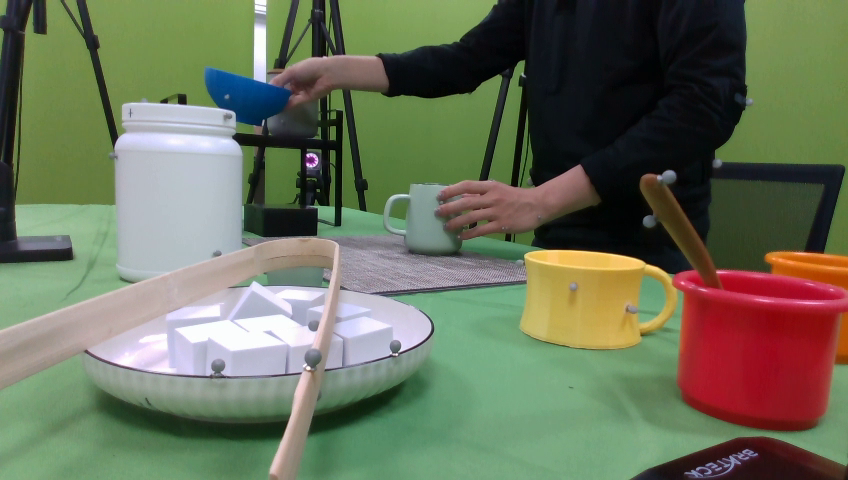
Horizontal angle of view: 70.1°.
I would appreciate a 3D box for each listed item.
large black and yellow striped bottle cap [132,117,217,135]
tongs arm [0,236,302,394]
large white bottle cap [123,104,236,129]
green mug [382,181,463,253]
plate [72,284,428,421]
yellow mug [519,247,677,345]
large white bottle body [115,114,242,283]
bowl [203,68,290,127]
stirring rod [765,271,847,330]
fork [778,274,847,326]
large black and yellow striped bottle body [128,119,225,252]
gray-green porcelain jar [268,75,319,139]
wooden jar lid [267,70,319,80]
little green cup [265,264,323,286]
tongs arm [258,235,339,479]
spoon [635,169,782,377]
[{"bbox_3d":[-0.359,-0.164,0.875,0.115,0.019,0.115,2,6,0],"label":"large black and yellow striped bottle cap"},{"bbox_3d":[-0.157,0.038,0.347,0.028,0.028,0.388,-3,8,11],"label":"tongs arm"},{"bbox_3d":[-0.266,-0.134,0.663,0.115,0.018,0.115,3,7,0],"label":"large white bottle cap"},{"bbox_3d":[-0.001,-0.036,0.921,0.126,0.105,0.092,0,8,-16],"label":"green mug"},{"bbox_3d":[-0.102,0.067,0.381,0.208,0.039,0.207,3,7,0],"label":"plate"},{"bbox_3d":[0.148,0.045,0.513,0.131,0.064,0.100,3,7,0],"label":"yellow mug"},{"bbox_3d":[-0.270,-0.051,0.673,0.131,0.184,0.130,2,8,0],"label":"large white bottle body"},{"bbox_3d":[-0.322,-0.249,1.082,0.151,0.077,0.151,15,11,-3],"label":"bowl"},{"bbox_3d":[0.352,0.020,0.481,0.176,0.006,0.014,-40,-8,17],"label":"stirring rod"},{"bbox_3d":[0.332,0.019,0.443,0.028,0.018,0.207,-3,-35,-16],"label":"fork"},{"bbox_3d":[-0.361,-0.081,0.887,0.131,0.184,0.130,2,8,0],"label":"large black and yellow striped bottle body"},{"bbox_3d":[-0.277,-0.278,1.280,0.106,0.126,0.106,2,8,0],"label":"gray-green porcelain jar"},{"bbox_3d":[-0.275,-0.340,1.271,0.108,0.020,0.108,5,6,0],"label":"wooden jar lid"},{"bbox_3d":[-0.134,0.033,0.628,0.061,0.038,0.061,3,7,0],"label":"little green cup"},{"bbox_3d":[-0.074,0.040,0.345,0.051,0.026,0.384,-2,10,-3],"label":"tongs arm"},{"bbox_3d":[0.161,0.026,0.346,0.021,0.194,0.041,-51,32,-19],"label":"spoon"}]
